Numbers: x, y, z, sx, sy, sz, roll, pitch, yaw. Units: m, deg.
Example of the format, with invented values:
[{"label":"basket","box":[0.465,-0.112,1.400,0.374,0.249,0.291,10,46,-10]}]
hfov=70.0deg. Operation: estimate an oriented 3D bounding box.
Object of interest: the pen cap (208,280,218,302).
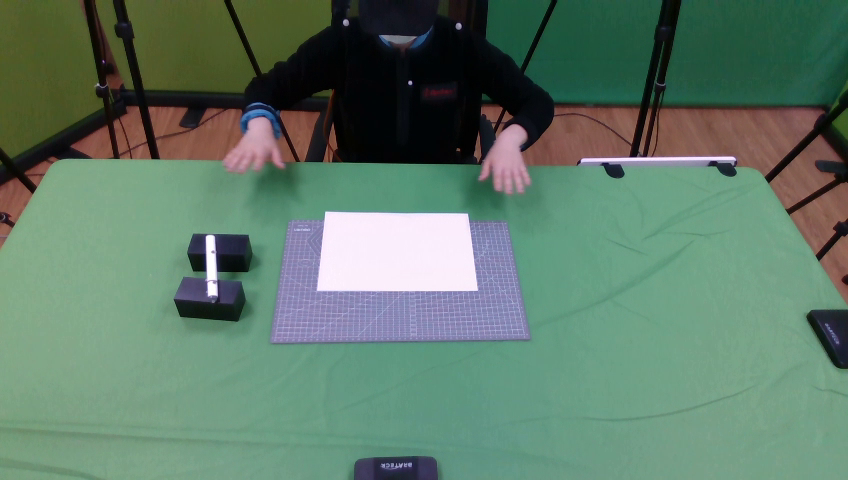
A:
[{"label":"pen cap","box":[-0.356,0.086,1.021,0.017,0.017,0.038,-9,47,-12]}]

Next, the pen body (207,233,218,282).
[{"label":"pen body","box":[-0.370,0.042,1.062,0.017,0.017,0.143,-9,47,-12]}]
